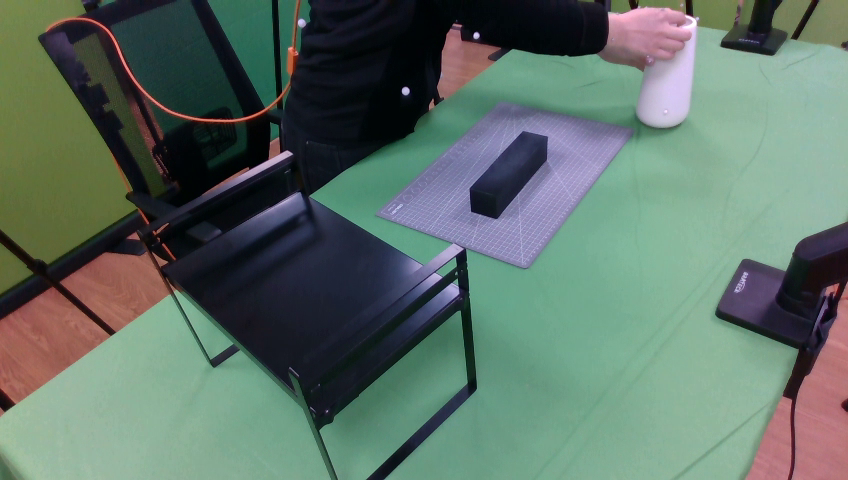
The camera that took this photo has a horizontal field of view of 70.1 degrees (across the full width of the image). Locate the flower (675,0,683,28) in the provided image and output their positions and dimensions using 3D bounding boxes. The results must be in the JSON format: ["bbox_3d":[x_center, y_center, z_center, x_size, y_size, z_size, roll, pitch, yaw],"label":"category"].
[{"bbox_3d":[0.445,-0.360,1.066,0.038,0.364,0.043,-43,58,-12],"label":"flower"}]

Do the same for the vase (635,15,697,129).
[{"bbox_3d":[0.457,-0.310,1.133,0.098,0.201,0.097,-4,42,4],"label":"vase"}]
